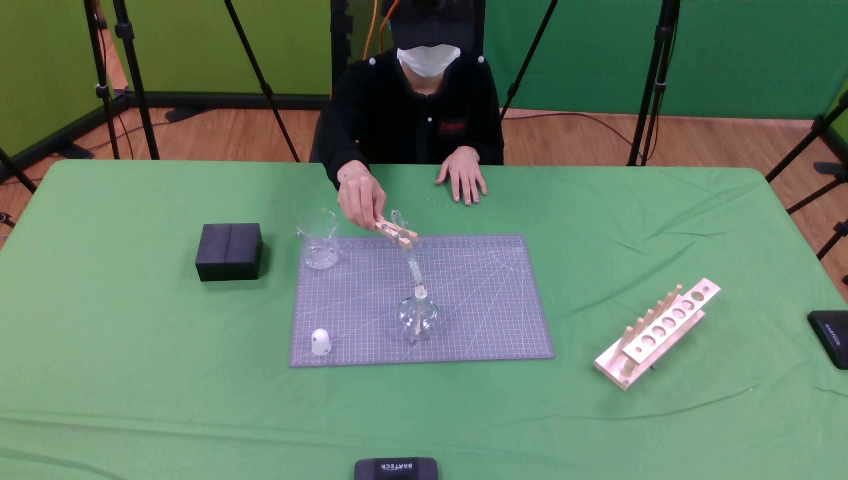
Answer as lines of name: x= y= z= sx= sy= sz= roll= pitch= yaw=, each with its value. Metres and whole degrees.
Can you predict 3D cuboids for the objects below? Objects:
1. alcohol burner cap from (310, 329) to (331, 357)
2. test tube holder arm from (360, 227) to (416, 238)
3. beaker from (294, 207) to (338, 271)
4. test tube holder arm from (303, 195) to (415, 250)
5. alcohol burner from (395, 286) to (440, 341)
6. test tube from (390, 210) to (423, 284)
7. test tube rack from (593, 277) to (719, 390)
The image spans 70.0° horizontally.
alcohol burner cap: x=-0.173 y=0.168 z=1.005 sx=0.034 sy=0.048 sz=0.033 roll=2 pitch=46 yaw=-2
test tube holder arm: x=-0.055 y=-0.011 z=0.907 sx=0.087 sy=0.010 sz=0.015 roll=-1 pitch=35 yaw=20
beaker: x=-0.196 y=0.003 z=1.123 sx=0.074 sy=0.101 sz=0.083 roll=-23 pitch=52 yaw=-24
test tube holder arm: x=-0.097 y=-0.027 z=0.908 sx=0.178 sy=0.013 sz=0.015 roll=25 pitch=42 yaw=-2
alcohol burner: x=-0.010 y=0.116 z=1.018 sx=0.078 sy=0.119 sz=0.077 roll=3 pitch=47 yaw=-3
test tube: x=-0.025 y=0.014 z=0.923 sx=0.017 sy=0.151 sz=0.017 roll=-9 pitch=42 yaw=9
test tube rack: x=0.401 y=0.148 z=1.043 sx=0.242 sy=0.085 sz=0.066 roll=-30 pitch=55 yaw=-29
